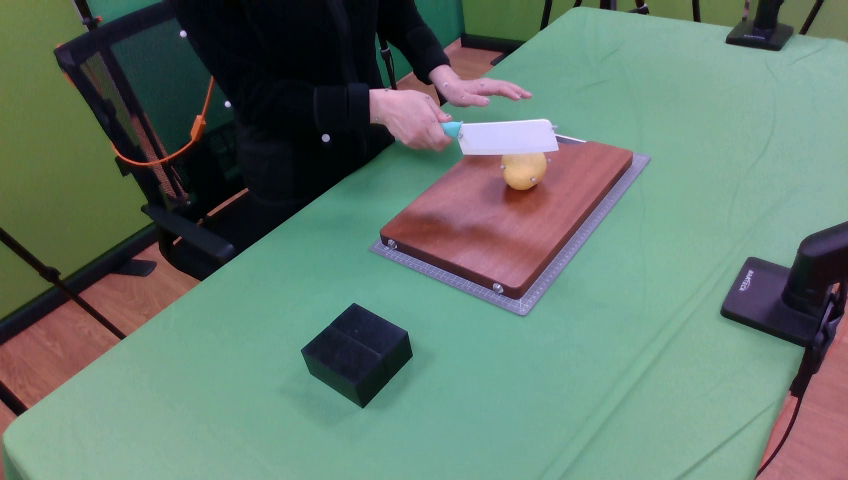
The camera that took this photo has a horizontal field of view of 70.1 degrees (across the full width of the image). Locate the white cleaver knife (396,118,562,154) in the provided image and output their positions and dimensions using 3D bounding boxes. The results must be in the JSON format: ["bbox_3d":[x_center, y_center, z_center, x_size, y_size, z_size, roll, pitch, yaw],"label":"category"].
[{"bbox_3d":[0.076,-0.160,0.952,0.284,0.066,0.021,6,44,32],"label":"white cleaver knife"}]

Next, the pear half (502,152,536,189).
[{"bbox_3d":[0.152,-0.119,1.000,0.070,0.088,0.031,28,54,30],"label":"pear half"}]

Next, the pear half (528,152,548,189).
[{"bbox_3d":[0.174,-0.145,1.011,0.076,0.110,0.056,27,52,30],"label":"pear half"}]
